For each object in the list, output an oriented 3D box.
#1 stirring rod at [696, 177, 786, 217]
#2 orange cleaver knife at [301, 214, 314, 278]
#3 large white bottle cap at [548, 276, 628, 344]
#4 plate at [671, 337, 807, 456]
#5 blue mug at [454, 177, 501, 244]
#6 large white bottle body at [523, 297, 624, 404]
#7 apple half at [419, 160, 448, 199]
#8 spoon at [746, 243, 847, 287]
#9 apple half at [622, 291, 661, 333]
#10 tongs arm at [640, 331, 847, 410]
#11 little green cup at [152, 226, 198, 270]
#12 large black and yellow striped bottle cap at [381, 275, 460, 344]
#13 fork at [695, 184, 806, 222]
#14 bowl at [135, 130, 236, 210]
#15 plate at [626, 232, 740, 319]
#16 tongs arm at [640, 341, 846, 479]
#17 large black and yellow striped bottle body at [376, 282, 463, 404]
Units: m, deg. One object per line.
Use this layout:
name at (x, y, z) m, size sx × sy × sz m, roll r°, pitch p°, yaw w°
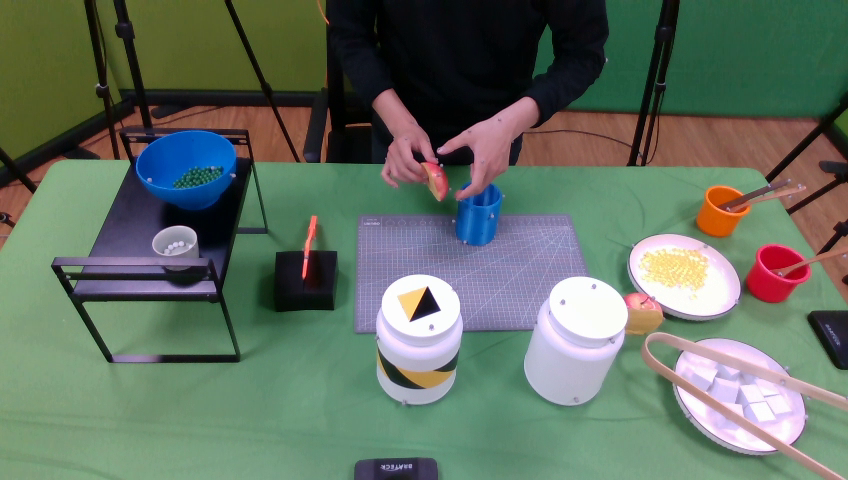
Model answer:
stirring rod at (0.648, -0.087, 1.244) m, size 0.176 × 0.006 × 0.014 m, roll -25°, pitch 50°, yaw 29°
orange cleaver knife at (-0.218, 0.008, 1.131) m, size 0.012 × 0.077 × 0.210 m, roll 7°, pitch 19°, yaw -9°
large white bottle cap at (0.240, 0.100, 0.890) m, size 0.115 × 0.018 × 0.114 m, roll 3°, pitch 47°, yaw -3°
plate at (0.503, 0.254, 0.984) m, size 0.208 × 0.039 × 0.206 m, roll 2°, pitch 46°, yaw -2°
blue mug at (0.106, -0.067, 1.208) m, size 0.082 × 0.106 × 0.116 m, roll 6°, pitch 46°, yaw 1°
large white bottle body at (0.235, 0.159, 0.952) m, size 0.131 × 0.185 × 0.130 m, roll 2°, pitch 47°, yaw -2°
apple half at (0.022, -0.116, 1.095) m, size 0.033 × 0.082 × 0.081 m, roll -25°, pitch 52°, yaw -8°
spoon at (0.702, 0.043, 1.126) m, size 0.194 × 0.022 × 0.041 m, roll -29°, pitch 38°, yaw 30°
apple half at (0.372, 0.123, 1.074) m, size 0.081 × 0.075 × 0.053 m, roll 0°, pitch 42°, yaw 1°
tongs arm at (0.543, 0.226, 0.969) m, size 0.384 × 0.026 × 0.050 m, roll 22°, pitch 53°, yaw 13°
little green cup at (-0.364, 0.013, 0.894) m, size 0.061 × 0.039 × 0.061 m, roll 3°, pitch 47°, yaw -3°
large black and yellow striped bottle cap at (-0.005, 0.098, 0.875) m, size 0.115 × 0.019 × 0.114 m, roll 2°, pitch 45°, yaw -2°
fork at (0.658, -0.074, 1.230) m, size 0.207 × 0.019 × 0.028 m, roll -24°, pitch 34°, yaw 36°
bowl at (-0.375, -0.102, 0.978) m, size 0.151 × 0.077 × 0.150 m, roll 2°, pitch 46°, yaw -2°
plate at (0.489, 0.071, 1.157) m, size 0.209 × 0.038 × 0.208 m, roll 3°, pitch 46°, yaw -3°
tongs arm at (0.500, 0.278, 0.920) m, size 0.386 × 0.028 × 0.028 m, roll 34°, pitch 60°, yaw 22°
large black and yellow striped bottle body at (-0.010, 0.155, 0.937) m, size 0.131 × 0.185 × 0.130 m, roll 2°, pitch 47°, yaw -2°
